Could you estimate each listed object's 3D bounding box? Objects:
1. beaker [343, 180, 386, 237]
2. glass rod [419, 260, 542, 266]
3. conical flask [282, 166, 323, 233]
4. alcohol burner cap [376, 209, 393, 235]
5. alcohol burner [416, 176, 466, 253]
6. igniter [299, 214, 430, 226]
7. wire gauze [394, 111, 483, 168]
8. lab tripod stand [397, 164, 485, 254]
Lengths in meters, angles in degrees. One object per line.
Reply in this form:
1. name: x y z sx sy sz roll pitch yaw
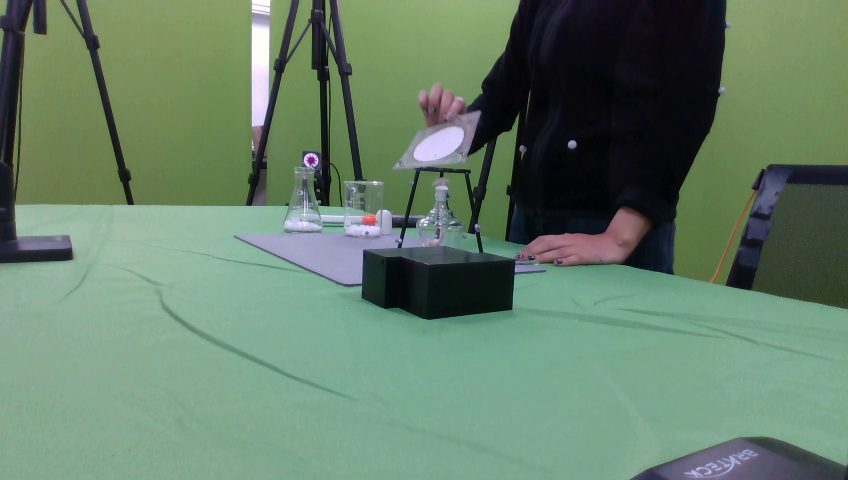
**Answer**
1. beaker: -0.111 -0.058 1.090 0.083 0.100 0.074 7 8 34
2. glass rod: 0.080 0.031 0.807 0.201 0.008 0.008 1 7 -31
3. conical flask: -0.225 -0.076 1.129 0.075 0.122 0.075 2 8 0
4. alcohol burner cap: -0.075 -0.036 1.150 0.034 0.048 0.034 2 7 0
5. alcohol burner: 0.027 -0.039 0.934 0.078 0.119 0.078 2 9 0
6. igniter: -0.123 -0.044 1.281 0.278 0.025 0.057 0 -2 -19
7. wire gauze: 0.023 -0.151 0.923 0.124 0.011 0.121 -7 39 31
8. lab tripod stand: 0.029 -0.049 0.930 0.148 0.131 0.148 4 7 0
